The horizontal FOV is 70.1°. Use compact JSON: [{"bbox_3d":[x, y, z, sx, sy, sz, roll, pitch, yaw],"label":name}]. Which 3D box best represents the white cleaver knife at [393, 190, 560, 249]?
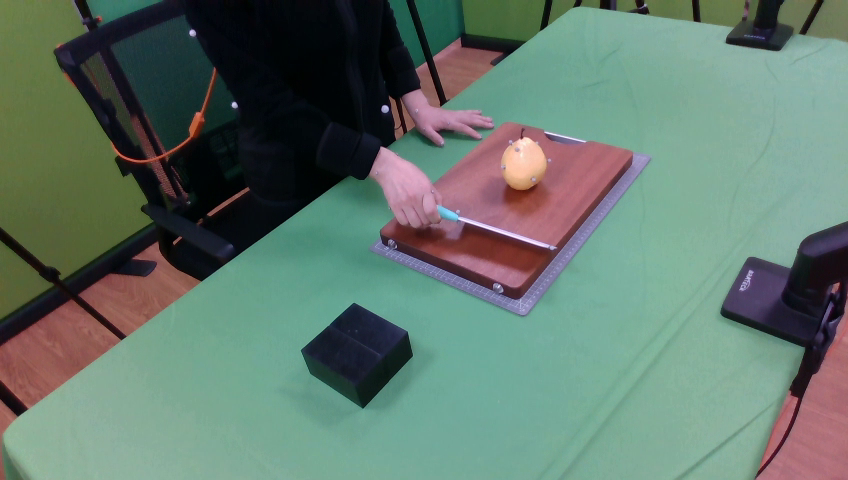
[{"bbox_3d":[0.073,-0.027,0.943,0.284,0.021,0.066,21,4,25],"label":"white cleaver knife"}]

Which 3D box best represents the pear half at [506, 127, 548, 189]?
[{"bbox_3d":[0.175,-0.145,1.011,0.076,0.110,0.056,27,52,30],"label":"pear half"}]

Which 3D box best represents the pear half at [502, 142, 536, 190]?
[{"bbox_3d":[0.152,-0.119,1.000,0.070,0.088,0.031,28,53,30],"label":"pear half"}]
